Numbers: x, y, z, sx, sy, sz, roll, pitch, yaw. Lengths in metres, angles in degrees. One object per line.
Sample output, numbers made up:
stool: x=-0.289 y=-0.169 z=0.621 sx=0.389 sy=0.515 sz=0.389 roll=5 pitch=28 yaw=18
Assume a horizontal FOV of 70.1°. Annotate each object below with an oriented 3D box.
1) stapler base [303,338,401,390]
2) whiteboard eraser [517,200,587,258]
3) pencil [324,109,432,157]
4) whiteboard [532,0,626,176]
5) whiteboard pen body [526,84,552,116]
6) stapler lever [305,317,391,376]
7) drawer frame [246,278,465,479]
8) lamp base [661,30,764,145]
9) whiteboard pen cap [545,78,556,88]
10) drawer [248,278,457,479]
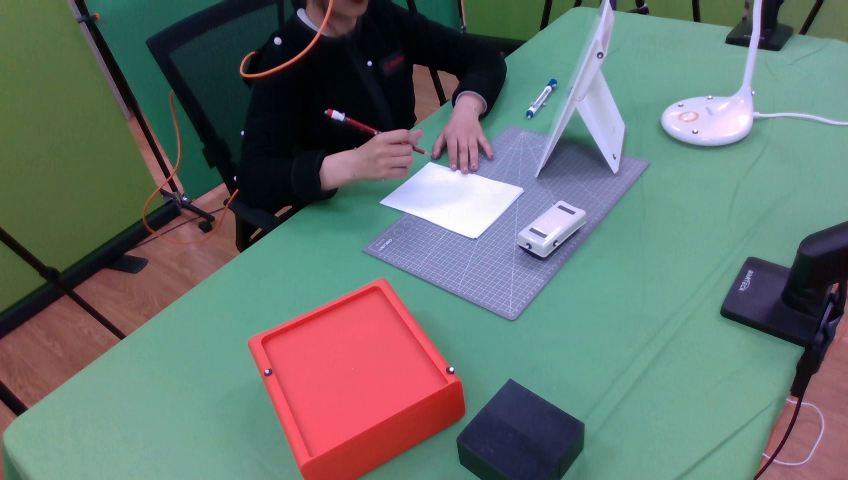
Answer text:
stapler base: x=-0.096 y=0.159 z=0.812 sx=0.131 sy=0.024 sz=0.041 roll=-17 pitch=44 yaw=-17
whiteboard eraser: x=0.200 y=-0.016 z=0.943 sx=0.113 sy=0.042 sz=0.055 roll=-37 pitch=46 yaw=-29
pencil: x=-0.073 y=-0.176 z=1.008 sx=0.195 sy=0.012 sz=0.012 roll=21 pitch=39 yaw=-15
whiteboard: x=0.321 y=-0.258 z=1.050 sx=0.144 sy=0.306 sz=0.217 roll=22 pitch=45 yaw=5
whiteboard pen body: x=0.251 y=-0.305 z=1.298 sx=0.017 sy=0.017 sz=0.141 roll=15 pitch=45 yaw=26
stapler lever: x=-0.099 y=0.137 z=0.789 sx=0.118 sy=0.040 sz=0.026 roll=-22 pitch=45 yaw=-12
drawer frame: x=-0.088 y=0.168 z=0.752 sx=0.202 sy=0.083 sz=0.211 roll=-24 pitch=43 yaw=-18
lamp base: x=0.535 y=-0.287 z=1.096 sx=0.179 sy=0.181 sz=0.159 roll=-10 pitch=40 yaw=-4
whiteboard pen cap: x=0.280 y=-0.344 z=1.335 sx=0.018 sy=0.018 sz=0.033 roll=15 pitch=44 yaw=26
drawer: x=-0.092 y=0.167 z=0.756 sx=0.195 sy=0.073 sz=0.210 roll=-24 pitch=43 yaw=-18
